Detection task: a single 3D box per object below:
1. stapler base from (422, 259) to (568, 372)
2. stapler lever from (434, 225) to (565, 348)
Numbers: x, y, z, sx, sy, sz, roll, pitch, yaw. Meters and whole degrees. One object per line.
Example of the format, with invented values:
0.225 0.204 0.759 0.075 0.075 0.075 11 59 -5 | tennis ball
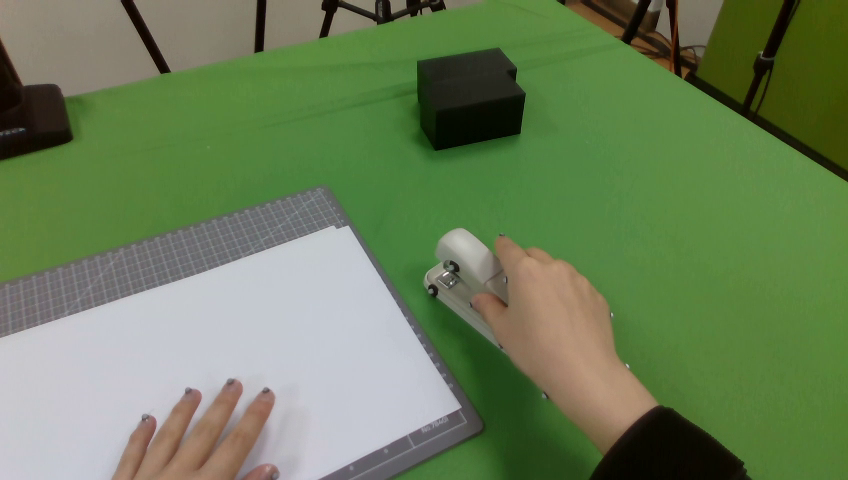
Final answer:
0.053 0.049 0.478 0.041 0.024 0.129 -35 56 -28 | stapler base
0.055 0.031 0.459 0.027 0.040 0.117 -35 57 -28 | stapler lever
